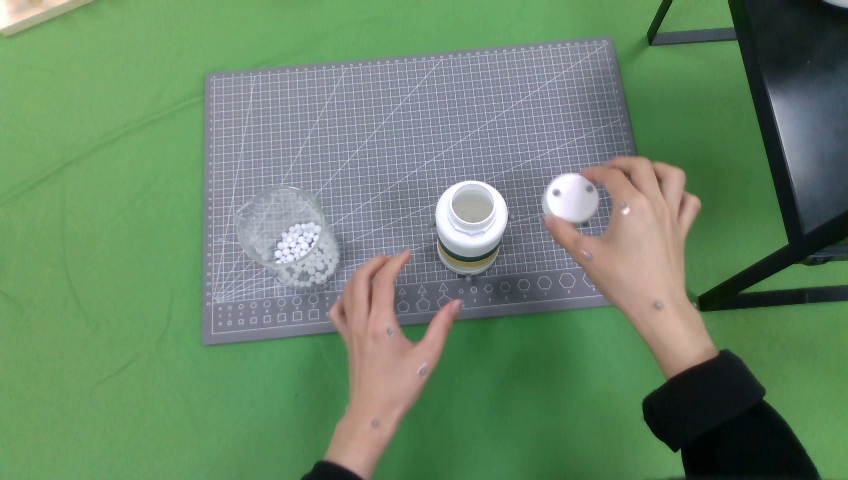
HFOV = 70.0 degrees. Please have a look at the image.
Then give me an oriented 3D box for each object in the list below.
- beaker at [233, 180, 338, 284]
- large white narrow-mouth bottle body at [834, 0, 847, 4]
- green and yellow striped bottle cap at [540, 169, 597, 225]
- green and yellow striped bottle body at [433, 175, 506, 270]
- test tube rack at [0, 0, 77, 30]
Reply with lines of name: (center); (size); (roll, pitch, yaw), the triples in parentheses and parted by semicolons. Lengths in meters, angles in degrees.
beaker: (-0.123, -0.003, 0.560); (0.084, 0.101, 0.073); (14, 74, 6)
large white narrow-mouth bottle body: (0.331, -0.254, 0.392); (0.102, 0.196, 0.101); (-1, 72, 3)
green and yellow striped bottle cap: (0.119, -0.036, 0.499); (0.045, 0.020, 0.045); (0, 74, 0)
green and yellow striped bottle body: (0.040, -0.017, 0.550); (0.063, 0.120, 0.063); (0, 73, 2)
test tube rack: (-0.388, -0.330, 0.670); (0.242, 0.085, 0.066); (-26, 74, -7)
